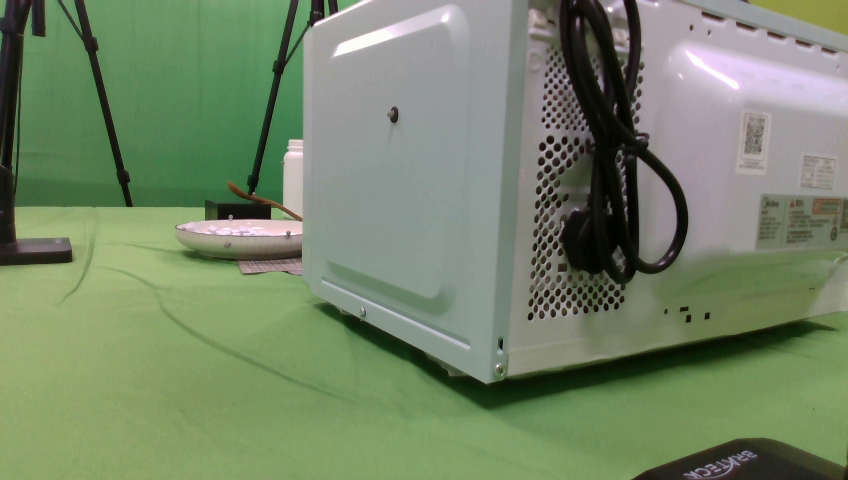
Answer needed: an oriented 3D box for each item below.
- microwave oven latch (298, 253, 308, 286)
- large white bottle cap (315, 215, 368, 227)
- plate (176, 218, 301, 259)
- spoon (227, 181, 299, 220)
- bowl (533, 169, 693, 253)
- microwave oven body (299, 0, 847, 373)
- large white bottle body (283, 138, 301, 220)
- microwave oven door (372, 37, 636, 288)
[{"bbox_3d":[-0.081,0.027,0.582,0.079,0.029,0.030,-2,7,-32],"label":"microwave oven latch"},{"bbox_3d":[-0.178,-0.041,1.309,0.115,0.018,0.115,2,6,0],"label":"large white bottle cap"},{"bbox_3d":[-0.248,-0.003,0.877,0.209,0.038,0.209,1,8,0],"label":"plate"},{"bbox_3d":[-0.315,-0.074,1.235,0.195,0.021,0.041,24,-9,-37],"label":"spoon"},{"bbox_3d":[0.181,-0.030,0.596,0.151,0.077,0.151,1,7,0],"label":"bowl"},{"bbox_3d":[0.152,-0.055,0.542,0.444,0.260,0.324,-2,7,-32],"label":"microwave oven body"},{"bbox_3d":[-0.265,-0.143,1.424,0.131,0.184,0.130,2,7,0],"label":"large white bottle body"},{"bbox_3d":[0.110,-0.080,0.686,0.358,0.243,0.039,-2,9,-33],"label":"microwave oven door"}]
